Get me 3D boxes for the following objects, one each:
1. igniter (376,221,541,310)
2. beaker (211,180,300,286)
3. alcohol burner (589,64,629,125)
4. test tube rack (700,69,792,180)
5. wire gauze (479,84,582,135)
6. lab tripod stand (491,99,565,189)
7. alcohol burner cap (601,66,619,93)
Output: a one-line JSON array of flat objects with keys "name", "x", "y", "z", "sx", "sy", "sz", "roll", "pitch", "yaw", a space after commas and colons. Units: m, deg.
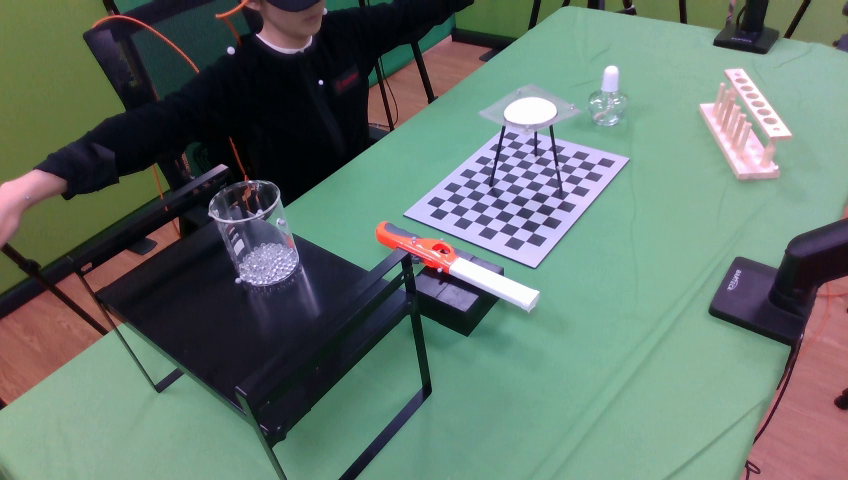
[{"name": "igniter", "x": 0.037, "y": 0.031, "z": 0.858, "sx": 0.274, "sy": 0.025, "sz": 0.057, "roll": 24, "pitch": 46, "yaw": 29}, {"name": "beaker", "x": -0.183, "y": -0.007, "z": 0.674, "sx": 0.074, "sy": 0.101, "sz": 0.083, "roll": -1, "pitch": 40, "yaw": 7}, {"name": "alcohol burner", "x": 0.364, "y": -0.287, "z": 1.184, "sx": 0.078, "sy": 0.119, "sz": 0.077, "roll": -4, "pitch": 39, "yaw": 4}, {"name": "test tube rack", "x": 0.571, "y": -0.215, "z": 1.089, "sx": 0.066, "sy": 0.085, "sz": 0.241, "roll": -3, "pitch": 41, "yaw": 7}, {"name": "wire gauze", "x": 0.176, "y": -0.216, "z": 1.006, "sx": 0.125, "sy": 0.011, "sz": 0.120, "roll": -29, "pitch": 46, "yaw": -22}, {"name": "lab tripod stand", "x": 0.184, "y": -0.163, "z": 1.046, "sx": 0.148, "sy": 0.132, "sz": 0.147, "roll": -5, "pitch": 42, "yaw": 5}, {"name": "alcohol burner cap", "x": 0.361, "y": -0.312, "z": 1.166, "sx": 0.034, "sy": 0.048, "sz": 0.033, "roll": -3, "pitch": 38, "yaw": 3}]
